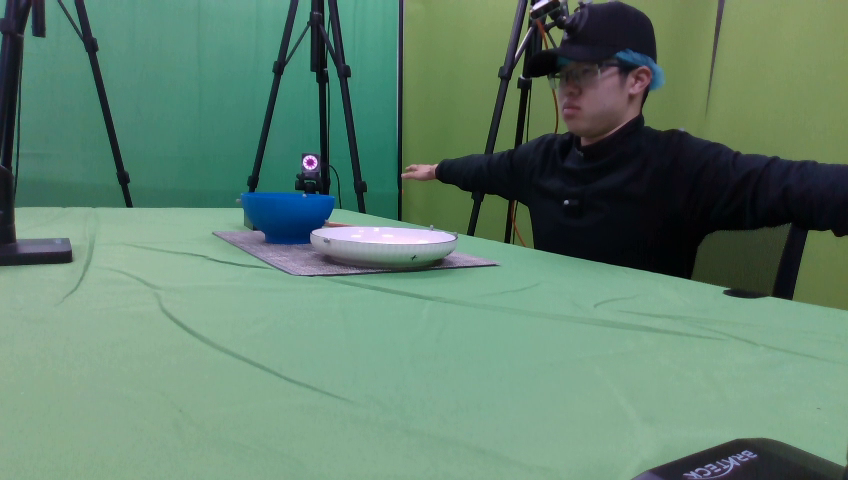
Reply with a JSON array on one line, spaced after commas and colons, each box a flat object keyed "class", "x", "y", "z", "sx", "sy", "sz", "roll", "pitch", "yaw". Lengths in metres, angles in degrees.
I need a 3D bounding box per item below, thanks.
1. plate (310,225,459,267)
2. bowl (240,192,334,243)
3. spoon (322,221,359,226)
[{"class": "plate", "x": -0.055, "y": 0.008, "z": 0.851, "sx": 0.208, "sy": 0.039, "sz": 0.207, "roll": 2, "pitch": 7, "yaw": 0}, {"class": "bowl", "x": -0.223, "y": -0.037, "z": 0.992, "sx": 0.151, "sy": 0.077, "sz": 0.151, "roll": 2, "pitch": 7, "yaw": 0}, {"class": "spoon", "x": -0.197, "y": -0.028, "z": 1.149, "sx": 0.195, "sy": 0.021, "sz": 0.041, "roll": -2, "pitch": -9, "yaw": -30}]
